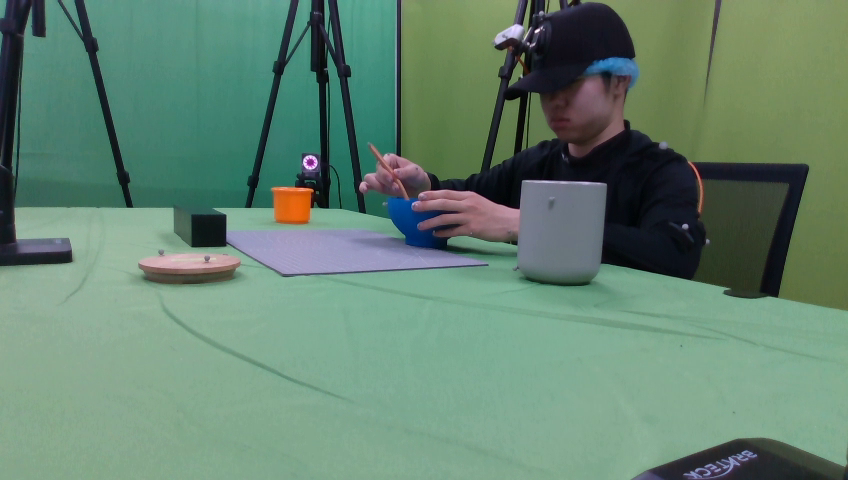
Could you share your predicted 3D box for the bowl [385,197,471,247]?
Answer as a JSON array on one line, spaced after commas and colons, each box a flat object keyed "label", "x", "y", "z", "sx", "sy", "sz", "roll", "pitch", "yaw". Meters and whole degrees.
[{"label": "bowl", "x": 0.005, "y": -0.031, "z": 1.046, "sx": 0.151, "sy": 0.077, "sz": 0.151, "roll": 4, "pitch": 5, "yaw": 0}]

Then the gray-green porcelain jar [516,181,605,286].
[{"label": "gray-green porcelain jar", "x": 0.172, "y": -0.010, "z": 0.768, "sx": 0.106, "sy": 0.126, "sz": 0.106, "roll": 2, "pitch": 7, "yaw": 0}]

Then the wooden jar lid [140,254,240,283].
[{"label": "wooden jar lid", "x": -0.269, "y": 0.032, "z": 0.698, "sx": 0.108, "sy": 0.020, "sz": 0.108, "roll": 2, "pitch": 5, "yaw": 0}]

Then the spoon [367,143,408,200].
[{"label": "spoon", "x": -0.045, "y": -0.090, "z": 1.063, "sx": 0.021, "sy": 0.193, "sz": 0.042, "roll": -29, "pitch": 1, "yaw": 18}]
